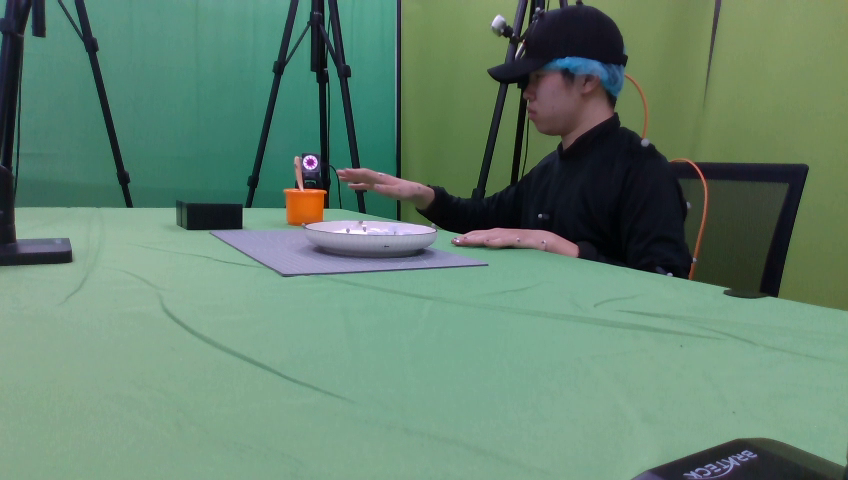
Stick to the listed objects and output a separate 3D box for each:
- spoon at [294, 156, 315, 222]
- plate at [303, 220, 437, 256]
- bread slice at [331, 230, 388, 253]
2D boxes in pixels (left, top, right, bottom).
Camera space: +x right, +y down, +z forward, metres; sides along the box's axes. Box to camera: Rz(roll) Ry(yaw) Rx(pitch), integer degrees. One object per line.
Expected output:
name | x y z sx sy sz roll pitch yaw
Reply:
spoon | -0.271 -0.116 1.328 0.042 0.021 0.193 -2 48 -21
plate | -0.084 -0.003 0.951 0.209 0.038 0.209 3 7 0
bread slice | -0.088 0.000 0.947 0.105 0.019 0.131 -4 11 -44
